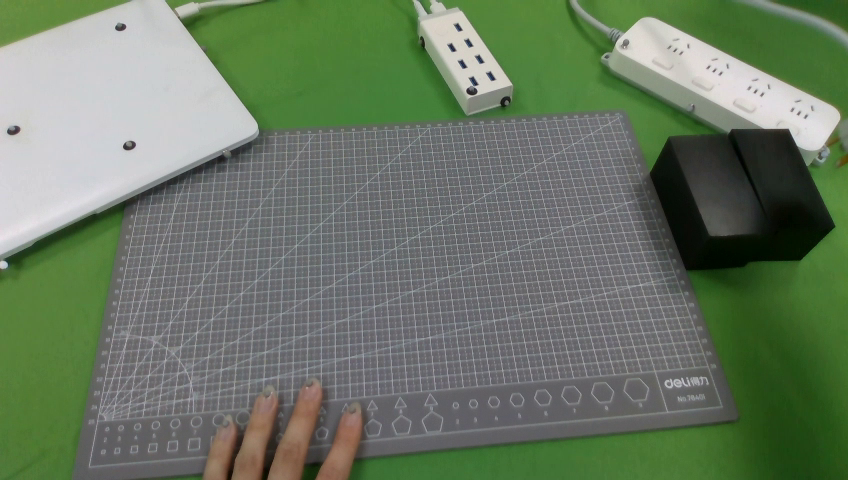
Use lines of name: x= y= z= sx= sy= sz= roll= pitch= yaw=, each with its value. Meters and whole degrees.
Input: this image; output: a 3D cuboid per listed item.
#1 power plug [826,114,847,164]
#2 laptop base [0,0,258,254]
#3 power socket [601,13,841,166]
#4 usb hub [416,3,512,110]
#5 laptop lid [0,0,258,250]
power plug: x=0.311 y=-0.090 z=0.430 sx=0.035 sy=0.053 sz=0.072 roll=20 pitch=63 yaw=-10
laptop base: x=-0.354 y=-0.093 z=0.534 sx=0.354 sy=0.023 sz=0.233 roll=-31 pitch=67 yaw=-19
power socket: x=0.280 y=-0.148 z=0.578 sx=0.225 sy=0.033 sz=0.072 roll=36 pitch=63 yaw=20
usb hub: x=0.036 y=-0.184 z=0.598 sx=0.049 sy=0.025 sz=0.124 roll=-19 pitch=60 yaw=-13
laptop lid: x=-0.352 y=-0.098 z=0.523 sx=0.357 sy=0.013 sz=0.239 roll=-29 pitch=65 yaw=-18
